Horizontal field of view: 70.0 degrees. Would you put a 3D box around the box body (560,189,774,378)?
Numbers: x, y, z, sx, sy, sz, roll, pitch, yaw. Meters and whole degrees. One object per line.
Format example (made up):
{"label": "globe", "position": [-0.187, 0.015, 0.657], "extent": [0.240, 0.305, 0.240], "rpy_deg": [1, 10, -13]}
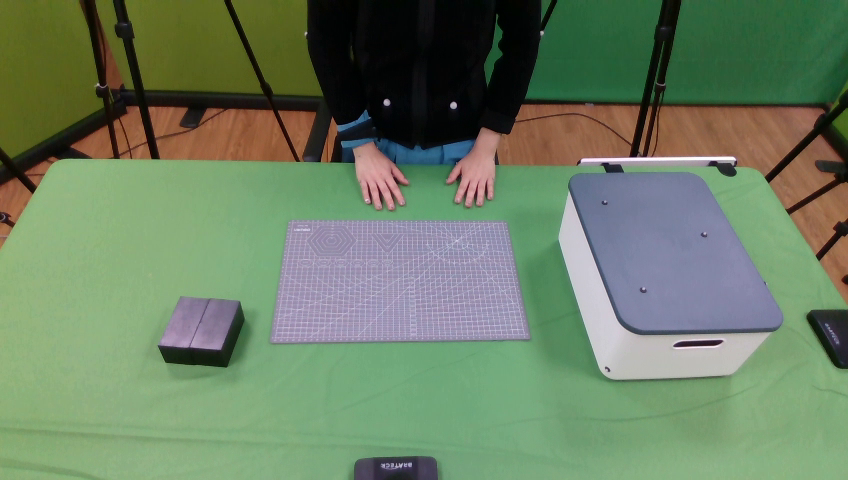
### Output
{"label": "box body", "position": [0.405, 0.057, 1.074], "extent": [0.254, 0.161, 0.361], "rpy_deg": [-2, 46, -5]}

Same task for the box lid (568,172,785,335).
{"label": "box lid", "position": [0.407, 0.007, 1.019], "extent": [0.263, 0.015, 0.369], "rpy_deg": [-1, 46, -5]}
